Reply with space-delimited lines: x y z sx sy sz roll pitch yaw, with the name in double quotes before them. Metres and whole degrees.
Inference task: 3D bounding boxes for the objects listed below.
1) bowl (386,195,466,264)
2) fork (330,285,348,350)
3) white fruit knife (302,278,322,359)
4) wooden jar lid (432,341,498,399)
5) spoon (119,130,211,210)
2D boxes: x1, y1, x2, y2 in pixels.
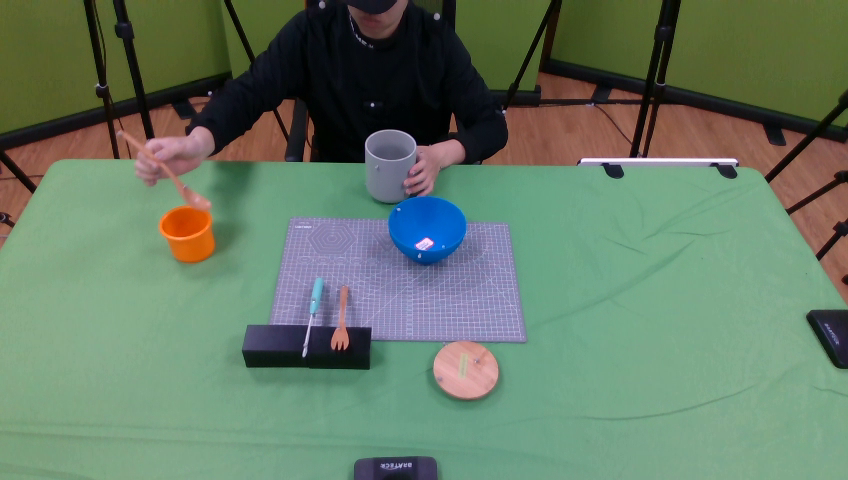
"bowl" 0.002 -0.007 1.162 0.151 0.077 0.150 2 46 -2
"fork" -0.140 0.127 1.021 0.028 0.019 0.206 -5 28 -3
"white fruit knife" -0.189 0.126 1.020 0.016 0.027 0.206 0 33 -2
"wooden jar lid" 0.067 0.216 0.997 0.108 0.021 0.107 1 46 -1
"spoon" -0.451 -0.122 1.059 0.021 0.194 0.041 -32 23 20
